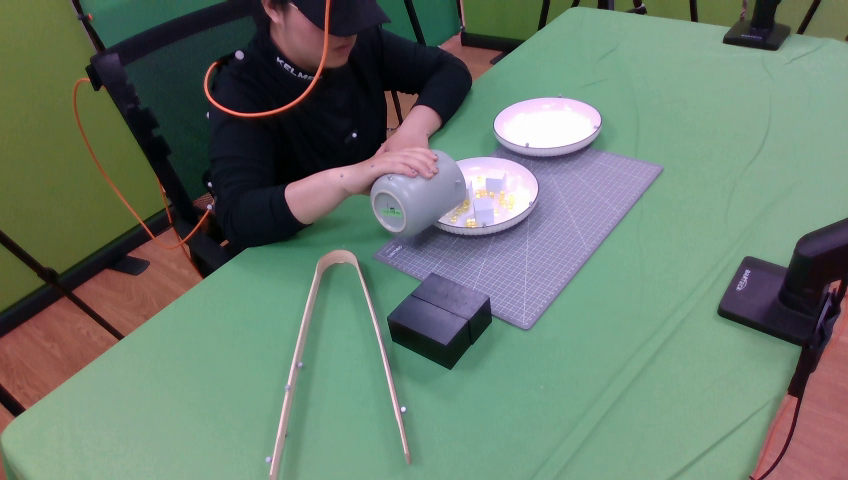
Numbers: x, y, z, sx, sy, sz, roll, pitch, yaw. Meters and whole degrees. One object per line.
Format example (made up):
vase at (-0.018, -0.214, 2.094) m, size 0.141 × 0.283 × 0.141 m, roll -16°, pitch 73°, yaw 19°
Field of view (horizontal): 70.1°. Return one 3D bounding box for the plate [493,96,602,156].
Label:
plate at (0.239, -0.218, 1.180) m, size 0.209 × 0.038 × 0.208 m, roll -5°, pitch 39°, yaw 4°

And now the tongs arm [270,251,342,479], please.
tongs arm at (-0.152, 0.148, 0.826) m, size 0.051 × 0.026 × 0.382 m, roll -6°, pitch 39°, yaw 3°

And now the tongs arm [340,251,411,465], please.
tongs arm at (-0.070, 0.136, 0.830) m, size 0.028 × 0.028 × 0.384 m, roll -17°, pitch 40°, yaw -6°

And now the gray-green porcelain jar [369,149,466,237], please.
gray-green porcelain jar at (-0.013, -0.071, 0.939) m, size 0.105 × 0.106 × 0.127 m, roll 24°, pitch 42°, yaw 33°

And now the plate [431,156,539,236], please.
plate at (0.091, -0.072, 1.034) m, size 0.207 × 0.039 × 0.206 m, roll -5°, pitch 40°, yaw 5°
